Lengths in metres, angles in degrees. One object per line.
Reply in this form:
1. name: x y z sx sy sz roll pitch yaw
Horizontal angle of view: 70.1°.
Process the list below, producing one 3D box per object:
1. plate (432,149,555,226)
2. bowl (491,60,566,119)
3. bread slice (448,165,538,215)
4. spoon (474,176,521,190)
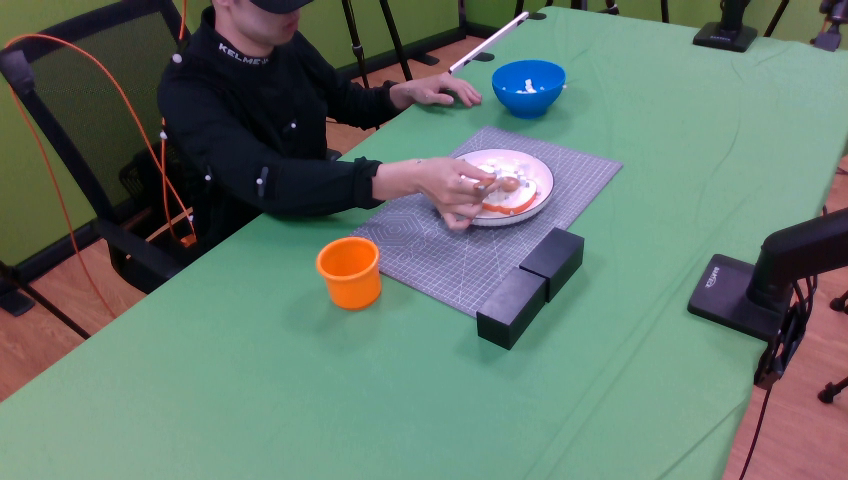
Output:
1. plate: 0.120 -0.087 1.037 0.209 0.038 0.208 -4 40 4
2. bowl: 0.215 -0.303 1.248 0.151 0.077 0.150 -4 41 4
3. bread slice: 0.126 -0.085 1.037 0.133 0.018 0.107 16 45 27
4. spoon: 0.113 -0.091 0.953 0.041 0.021 0.195 19 12 21
